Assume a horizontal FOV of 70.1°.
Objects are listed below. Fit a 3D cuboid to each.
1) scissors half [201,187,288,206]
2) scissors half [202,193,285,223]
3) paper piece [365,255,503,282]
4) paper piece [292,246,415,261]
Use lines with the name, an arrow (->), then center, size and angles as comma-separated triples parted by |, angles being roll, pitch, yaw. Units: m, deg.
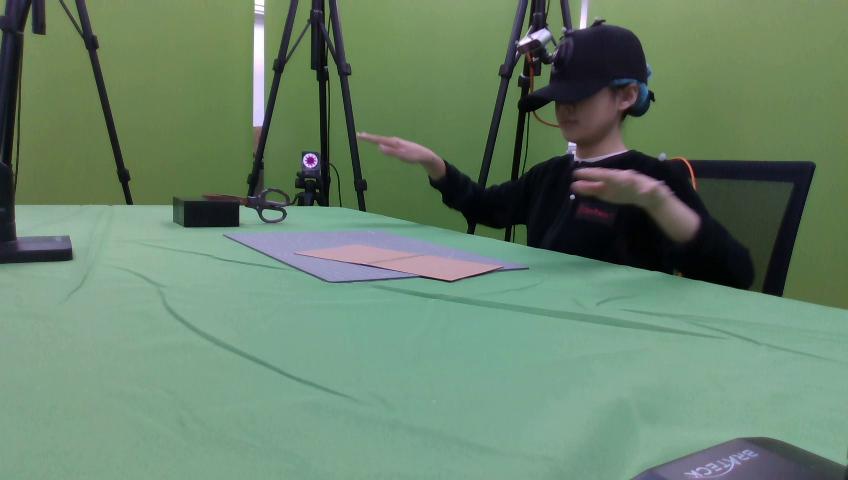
scissors half -> -0.360, -0.088, 1.224 | 0.176, 0.040, 0.012 | -3, 20, -32
scissors half -> -0.365, -0.069, 1.228 | 0.176, 0.040, 0.013 | 18, 3, -35
paper piece -> 0.014, 0.034, 0.799 | 0.135, 0.004, 0.136 | 8, 10, 35
paper piece -> -0.095, 0.020, 0.873 | 0.137, 0.008, 0.137 | 7, 4, 35
